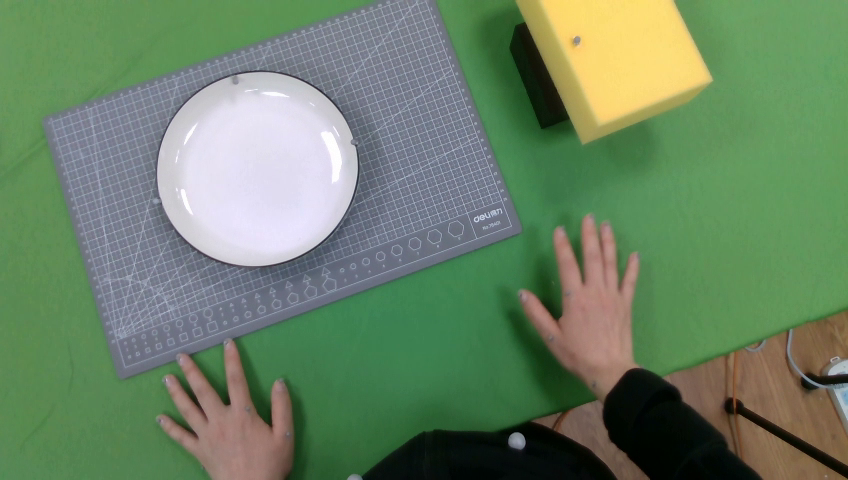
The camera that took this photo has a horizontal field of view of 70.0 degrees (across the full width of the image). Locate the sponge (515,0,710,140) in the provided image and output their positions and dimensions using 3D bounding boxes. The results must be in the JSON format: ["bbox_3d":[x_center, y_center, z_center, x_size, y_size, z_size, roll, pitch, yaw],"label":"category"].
[{"bbox_3d":[0.172,-0.219,0.596,0.118,0.061,0.206,-24,84,-3],"label":"sponge"}]

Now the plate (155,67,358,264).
[{"bbox_3d":[-0.172,-0.076,0.637,0.209,0.038,0.208,0,83,0],"label":"plate"}]
